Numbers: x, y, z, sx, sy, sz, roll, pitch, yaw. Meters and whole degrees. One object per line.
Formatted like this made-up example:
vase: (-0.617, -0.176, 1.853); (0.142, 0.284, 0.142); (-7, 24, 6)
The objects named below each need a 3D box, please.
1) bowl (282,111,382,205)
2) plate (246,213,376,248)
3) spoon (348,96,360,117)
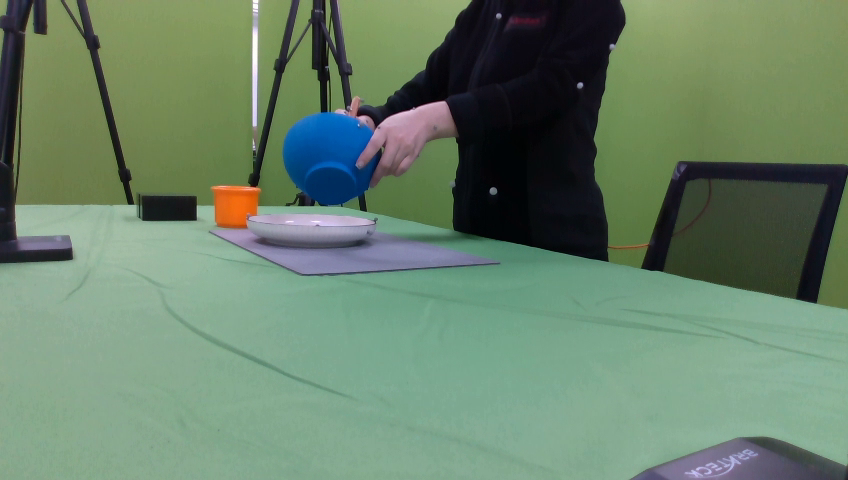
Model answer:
bowl: (-0.137, -0.105, 0.890); (0.152, 0.151, 0.076); (2, 46, -5)
plate: (-0.185, -0.017, 0.994); (0.209, 0.038, 0.209); (3, 8, 0)
spoon: (-0.129, -0.156, 0.974); (0.041, 0.193, 0.021); (9, -30, -1)
